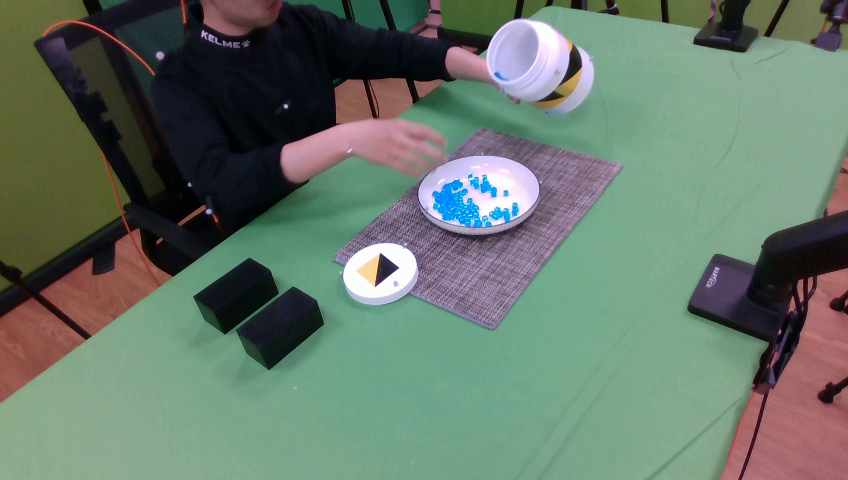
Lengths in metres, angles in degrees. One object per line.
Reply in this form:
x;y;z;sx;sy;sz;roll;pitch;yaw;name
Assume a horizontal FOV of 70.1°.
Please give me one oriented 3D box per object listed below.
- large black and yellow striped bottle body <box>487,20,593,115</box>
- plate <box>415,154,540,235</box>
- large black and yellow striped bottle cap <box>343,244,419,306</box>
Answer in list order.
0.208;-0.309;1.086;0.129;0.130;0.185;33;16;37;large black and yellow striped bottle body
0.090;-0.074;1.025;0.207;0.039;0.206;-4;41;4;plate
-0.066;0.051;0.918;0.115;0.019;0.114;-6;43;6;large black and yellow striped bottle cap
